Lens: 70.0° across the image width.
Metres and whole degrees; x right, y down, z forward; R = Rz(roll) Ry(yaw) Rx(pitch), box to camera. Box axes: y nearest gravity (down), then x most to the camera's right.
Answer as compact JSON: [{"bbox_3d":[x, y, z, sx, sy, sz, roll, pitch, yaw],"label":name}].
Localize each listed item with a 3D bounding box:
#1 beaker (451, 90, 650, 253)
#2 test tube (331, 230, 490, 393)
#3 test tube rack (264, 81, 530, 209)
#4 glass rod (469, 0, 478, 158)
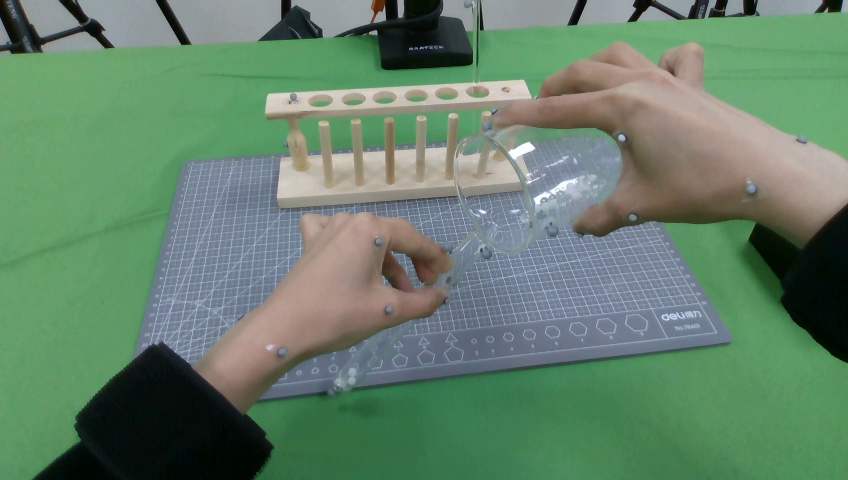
[{"bbox_3d":[0.078,-0.043,0.367,0.100,0.084,0.073,-25,61,-23],"label":"beaker"},{"bbox_3d":[-0.012,0.050,0.400,0.150,0.017,0.017,-47,46,16],"label":"test tube"},{"bbox_3d":[-0.022,-0.091,0.578,0.243,0.086,0.066,-4,44,-5],"label":"test tube rack"},{"bbox_3d":[0.045,-0.165,0.559,0.008,0.201,0.008,-1,37,1],"label":"glass rod"}]
